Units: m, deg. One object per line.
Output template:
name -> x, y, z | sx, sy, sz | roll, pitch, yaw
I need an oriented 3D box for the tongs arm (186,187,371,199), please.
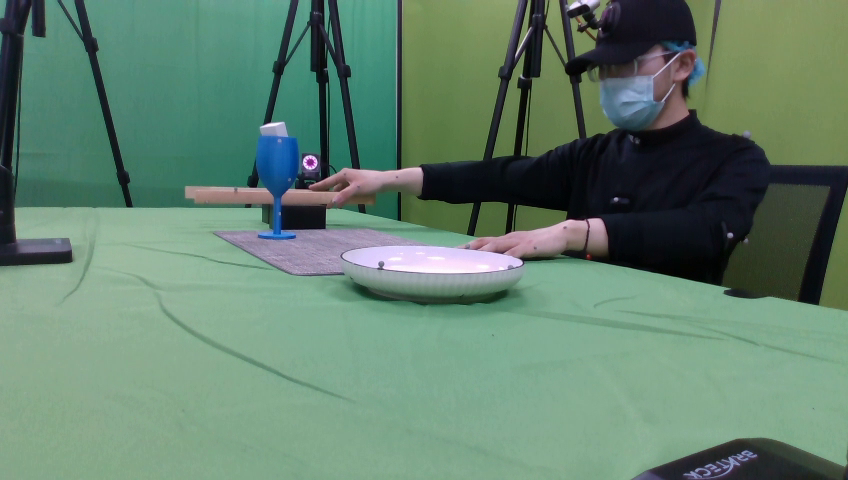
tongs arm -> -0.301, -0.096, 1.292 | 0.389, 0.028, 0.028 | 0, 2, -22

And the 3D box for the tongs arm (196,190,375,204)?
tongs arm -> -0.266, -0.087, 1.229 | 0.387, 0.026, 0.050 | -2, 6, -32

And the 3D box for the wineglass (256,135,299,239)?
wineglass -> -0.252, -0.091, 1.035 | 0.074, 0.172, 0.073 | 3, 7, 0

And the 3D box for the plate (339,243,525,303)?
plate -> 0.008, 0.035, 0.682 | 0.209, 0.038, 0.209 | 3, 7, 0
